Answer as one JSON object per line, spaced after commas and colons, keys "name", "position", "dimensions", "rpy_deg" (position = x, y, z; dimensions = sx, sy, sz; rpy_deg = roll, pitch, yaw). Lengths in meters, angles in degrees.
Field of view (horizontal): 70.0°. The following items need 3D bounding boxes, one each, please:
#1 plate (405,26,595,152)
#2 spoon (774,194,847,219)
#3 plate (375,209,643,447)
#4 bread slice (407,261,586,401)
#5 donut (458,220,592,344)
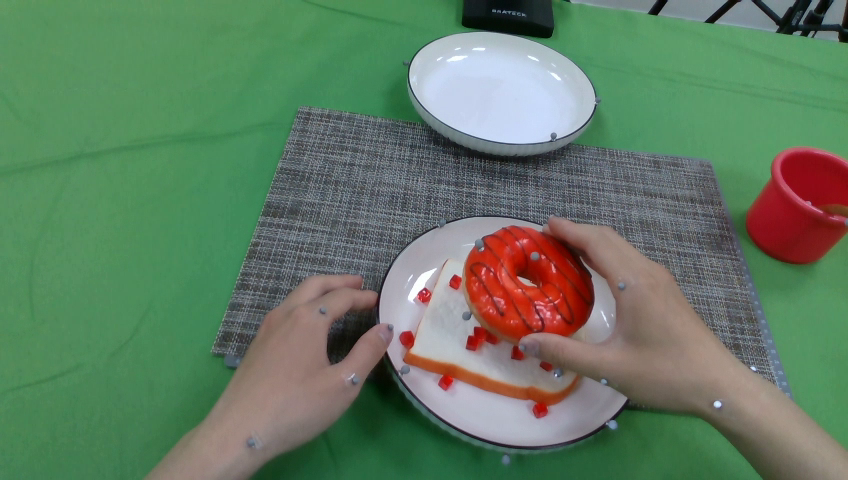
{"name": "plate", "position": [0.081, -0.163, 0.666], "dimensions": [0.208, 0.039, 0.205], "rpy_deg": [5, 49, -5]}
{"name": "spoon", "position": [0.353, -0.029, 0.531], "dimensions": [0.041, 0.021, 0.194], "rpy_deg": [24, 8, 10]}
{"name": "plate", "position": [0.065, 0.064, 0.480], "dimensions": [0.209, 0.038, 0.207], "rpy_deg": [4, 51, -4]}
{"name": "bread slice", "position": [0.062, 0.070, 0.481], "dimensions": [0.131, 0.019, 0.104], "rpy_deg": [14, 51, 9]}
{"name": "donut", "position": [0.072, 0.030, 0.437], "dimensions": [0.099, 0.048, 0.098], "rpy_deg": [7, 50, -8]}
